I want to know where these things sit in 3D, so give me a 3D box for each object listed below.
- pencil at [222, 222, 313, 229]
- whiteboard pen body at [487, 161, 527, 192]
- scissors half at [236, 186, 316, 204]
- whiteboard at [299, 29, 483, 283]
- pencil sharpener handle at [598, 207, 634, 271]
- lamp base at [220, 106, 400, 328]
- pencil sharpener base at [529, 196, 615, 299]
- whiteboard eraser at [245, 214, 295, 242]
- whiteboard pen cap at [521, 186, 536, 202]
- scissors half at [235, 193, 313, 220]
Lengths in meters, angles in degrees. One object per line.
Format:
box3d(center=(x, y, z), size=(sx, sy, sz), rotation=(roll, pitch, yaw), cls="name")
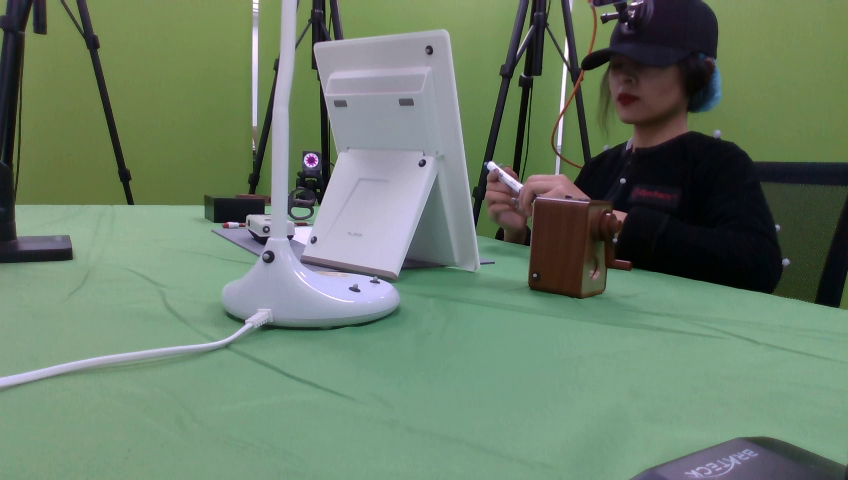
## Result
box3d(center=(-0.302, -0.030, 1.189), size=(0.195, 0.012, 0.012), rotation=(-3, 9, -42), cls="pencil")
box3d(center=(0.149, -0.105, 1.040), size=(0.017, 0.017, 0.140), rotation=(-2, 29, -28), cls="whiteboard pen body")
box3d(center=(-0.320, -0.097, 1.316), size=(0.176, 0.040, 0.013), rotation=(-4, 13, -29), cls="scissors half")
box3d(center=(-0.074, -0.082, 0.742), size=(0.216, 0.305, 0.144), rotation=(9, 29, 37), cls="whiteboard")
box3d(center=(0.208, 0.000, 0.645), size=(0.030, 0.068, 0.036), rotation=(10, 22, 42), cls="pencil sharpener handle")
box3d(center=(-0.101, -0.023, 0.531), size=(0.160, 0.180, 0.179), rotation=(4, 10, 10), cls="lamp base")
box3d(center=(0.168, 0.007, 0.678), size=(0.076, 0.107, 0.062), rotation=(10, 10, 42), cls="pencil sharpener base")
box3d(center=(-0.247, -0.018, 0.965), size=(0.056, 0.042, 0.112), rotation=(0, 8, -28), cls="whiteboard eraser")
box3d(center=(0.172, -0.077, 0.994), size=(0.018, 0.018, 0.033), rotation=(1, 26, -14), cls="whiteboard pen cap")
box3d(center=(-0.325, -0.077, 1.320), size=(0.176, 0.040, 0.012), rotation=(17, 8, -32), cls="scissors half")
